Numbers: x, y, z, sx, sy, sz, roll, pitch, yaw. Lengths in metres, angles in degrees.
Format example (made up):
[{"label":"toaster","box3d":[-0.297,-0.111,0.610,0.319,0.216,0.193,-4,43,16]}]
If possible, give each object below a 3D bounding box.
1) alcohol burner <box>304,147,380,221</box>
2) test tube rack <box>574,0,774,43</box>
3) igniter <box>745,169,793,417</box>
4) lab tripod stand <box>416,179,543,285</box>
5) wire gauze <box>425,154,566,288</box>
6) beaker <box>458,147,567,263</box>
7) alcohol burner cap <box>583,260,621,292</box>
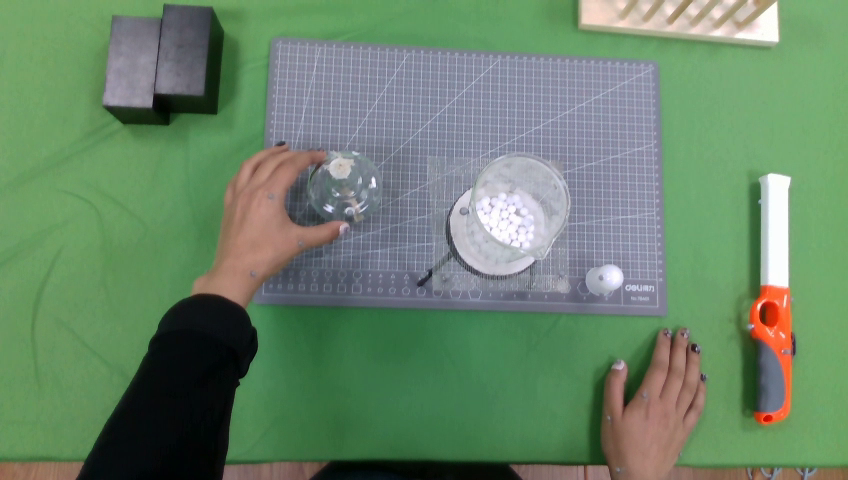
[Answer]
[{"label":"alcohol burner","box3d":[-0.083,-0.061,0.610,0.078,0.119,0.077,1,78,-4]},{"label":"test tube rack","box3d":[0.303,-0.286,0.694,0.243,0.085,0.066,3,80,-4]},{"label":"igniter","box3d":[0.385,0.057,0.675,0.057,0.025,0.275,8,81,-13]},{"label":"lab tripod stand","box3d":[0.056,-0.004,0.602,0.148,0.132,0.148,1,80,-3]},{"label":"wire gauze","box3d":[0.063,-0.018,0.538,0.125,0.011,0.121,0,79,-2]},{"label":"beaker","box3d":[0.067,-0.019,0.489,0.074,0.100,0.083,-21,81,-6]},{"label":"alcohol burner cap","box3d":[0.194,0.038,0.653,0.034,0.048,0.033,1,79,-3]}]
